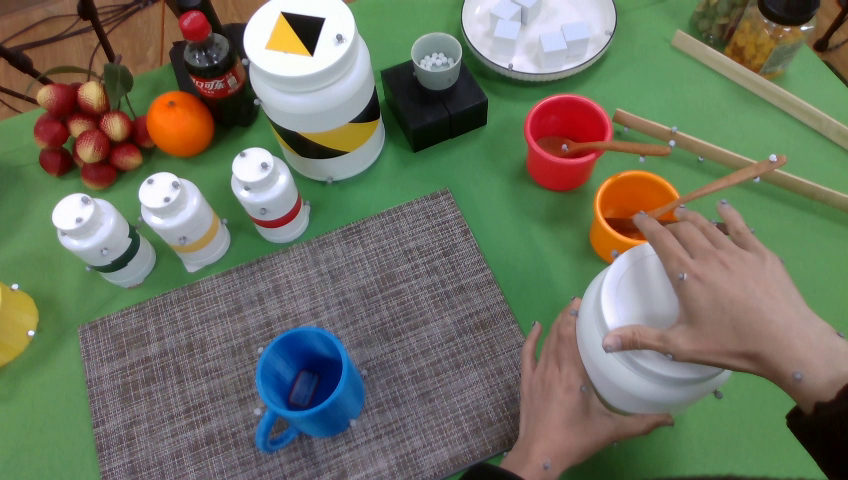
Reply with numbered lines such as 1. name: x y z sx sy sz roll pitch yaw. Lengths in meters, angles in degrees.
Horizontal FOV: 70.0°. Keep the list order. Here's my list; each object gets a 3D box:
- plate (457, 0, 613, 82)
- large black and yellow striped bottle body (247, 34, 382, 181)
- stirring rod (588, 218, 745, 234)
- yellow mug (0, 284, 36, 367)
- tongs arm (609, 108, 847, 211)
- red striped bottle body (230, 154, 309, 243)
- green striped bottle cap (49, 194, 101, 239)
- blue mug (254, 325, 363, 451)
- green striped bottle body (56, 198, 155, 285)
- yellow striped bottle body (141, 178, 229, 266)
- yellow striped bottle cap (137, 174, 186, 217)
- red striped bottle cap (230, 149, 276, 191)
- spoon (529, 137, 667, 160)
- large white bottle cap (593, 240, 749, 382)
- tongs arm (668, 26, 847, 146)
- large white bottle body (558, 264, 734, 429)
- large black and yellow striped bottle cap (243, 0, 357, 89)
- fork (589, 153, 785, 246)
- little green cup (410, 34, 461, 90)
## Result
1. plate: 0.148 -0.294 0.825 0.209 0.038 0.207 -1 64 2
2. large black and yellow striped bottle body: -0.123 -0.167 0.695 0.131 0.185 0.129 -1 63 3
3. stirring rod: 0.242 -0.015 0.626 0.014 0.006 0.175 -48 28 -23
4. yellow mug: -0.485 0.100 0.647 0.100 0.064 0.129 -13 64 -3
5. tongs arm: 0.408 -0.091 0.712 0.383 0.027 0.050 26 64 14
6. red striped bottle body: -0.173 -0.049 0.675 0.063 0.120 0.062 -2 63 5
7. green striped bottle cap: -0.353 -0.024 0.613 0.044 0.020 0.044 -1 62 2
8. blue mug: -0.116 0.150 0.577 0.082 0.107 0.116 32 69 18
9. green striped bottle body: -0.349 -0.001 0.660 0.063 0.120 0.062 -1 63 2
10. yellow striped bottle body: -0.265 -0.024 0.667 0.063 0.121 0.062 -2 63 3
11. yellow striped bottle cap: -0.269 -0.046 0.620 0.044 0.019 0.044 0 59 0
12. red striped bottle cap: -0.177 -0.073 0.628 0.044 0.018 0.044 0 61 0
13. spoon: 0.185 -0.102 0.670 0.041 0.192 0.022 -39 113 -19
14. large white bottle cap: 0.192 0.053 0.473 0.115 0.018 0.114 -1 63 3
15. tongs arm: 0.462 -0.156 0.744 0.028 0.028 0.384 -39 68 -23
16. large white bottle body: 0.198 0.091 0.549 0.130 0.186 0.129 -1 63 3
17. large black and yellow striped bottle cap: -0.127 -0.205 0.618 0.115 0.019 0.114 -2 66 5
18. fork: 0.265 -0.040 0.631 0.207 0.019 0.028 -30 53 38
19. little green cup: 0.014 -0.215 0.736 0.061 0.039 0.061 -1 61 1
